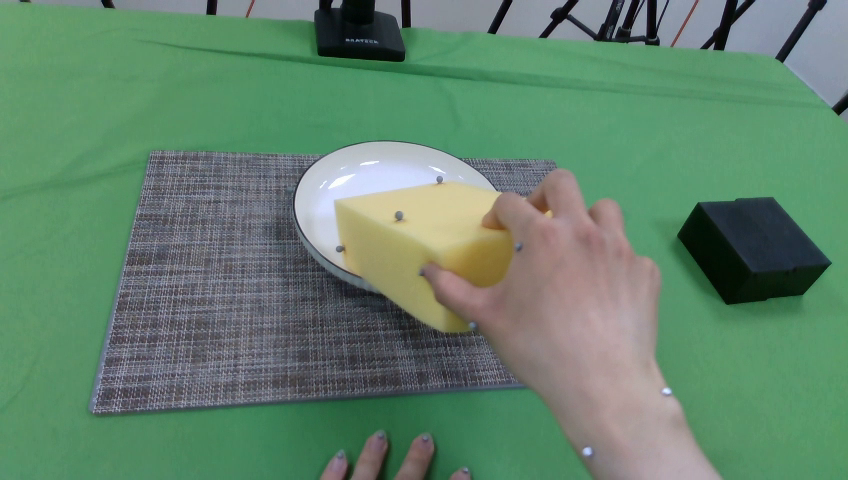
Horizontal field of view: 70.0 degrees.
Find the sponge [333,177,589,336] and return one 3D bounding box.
[{"bbox_3d":[0.017,0.000,0.476,0.118,0.061,0.205,-11,17,-24],"label":"sponge"}]

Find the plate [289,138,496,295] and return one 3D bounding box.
[{"bbox_3d":[-0.025,-0.022,0.586,0.208,0.039,0.205,7,45,-6],"label":"plate"}]
